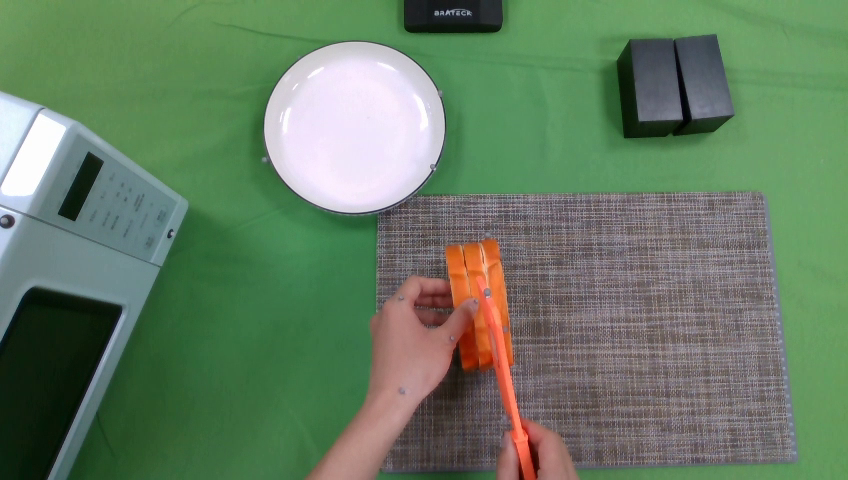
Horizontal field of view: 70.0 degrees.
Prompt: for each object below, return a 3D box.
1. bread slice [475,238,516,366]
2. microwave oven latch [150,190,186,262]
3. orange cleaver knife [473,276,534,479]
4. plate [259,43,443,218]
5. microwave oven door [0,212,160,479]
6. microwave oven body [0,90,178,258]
[{"bbox_3d":[0.071,0.066,0.627,0.018,0.107,0.133,-8,80,-1],"label":"bread slice"},{"bbox_3d":[-0.286,-0.018,0.656,0.030,0.029,0.079,21,80,3],"label":"microwave oven latch"},{"bbox_3d":[0.072,0.135,0.535,0.012,0.077,0.212,-14,103,-4],"label":"orange cleaver knife"},{"bbox_3d":[-0.082,-0.123,0.699,0.208,0.039,0.206,0,79,-1],"label":"plate"},{"bbox_3d":[-0.363,0.163,0.517,0.039,0.244,0.354,20,79,4],"label":"microwave oven door"},{"bbox_3d":[-0.486,0.075,0.536,0.326,0.261,0.440,20,80,2],"label":"microwave oven body"}]
